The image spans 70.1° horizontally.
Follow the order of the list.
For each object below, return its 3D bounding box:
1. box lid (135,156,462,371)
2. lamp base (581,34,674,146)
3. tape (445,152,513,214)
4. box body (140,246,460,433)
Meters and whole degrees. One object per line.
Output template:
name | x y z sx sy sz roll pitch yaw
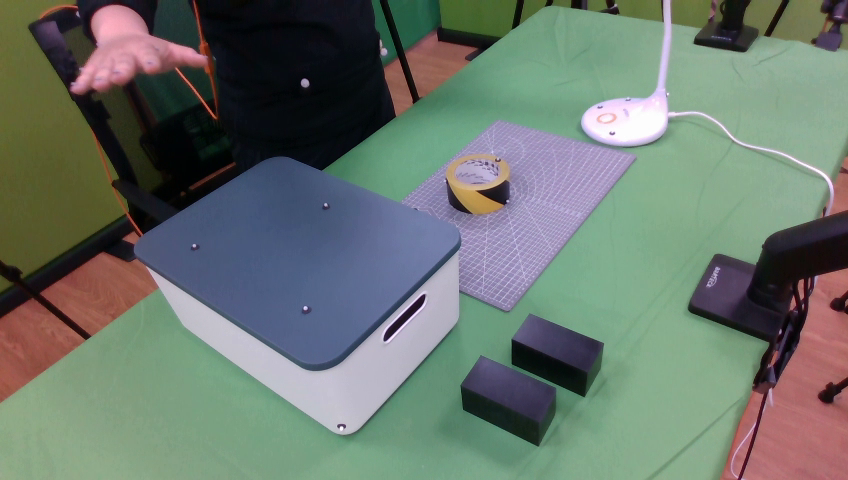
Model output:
box lid | -0.162 0.004 0.765 0.368 0.015 0.264 23 49 31
lamp base | 0.392 -0.291 1.129 0.180 0.181 0.159 -11 41 -8
tape | 0.095 -0.099 1.042 0.117 0.053 0.116 -4 41 4
box body | -0.156 0.058 0.814 0.361 0.161 0.255 24 49 31
